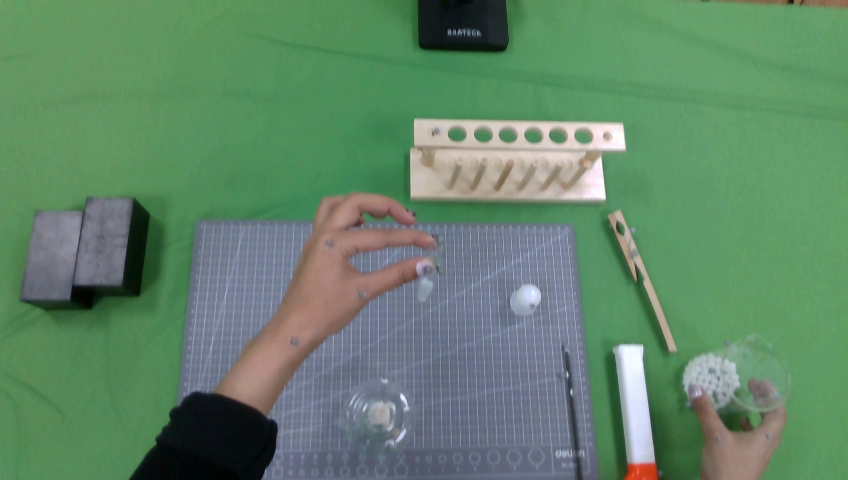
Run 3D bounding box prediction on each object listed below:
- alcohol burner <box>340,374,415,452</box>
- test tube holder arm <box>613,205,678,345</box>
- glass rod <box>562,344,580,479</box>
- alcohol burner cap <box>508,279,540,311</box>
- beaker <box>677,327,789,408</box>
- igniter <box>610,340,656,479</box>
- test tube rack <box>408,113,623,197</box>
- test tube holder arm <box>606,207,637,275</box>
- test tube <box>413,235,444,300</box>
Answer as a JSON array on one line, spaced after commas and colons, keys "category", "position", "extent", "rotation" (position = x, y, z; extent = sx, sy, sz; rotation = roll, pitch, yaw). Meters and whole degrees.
[{"category": "alcohol burner", "position": [-0.046, 0.171, 0.606], "extent": [0.078, 0.119, 0.077], "rotation": [1, 70, -4]}, {"category": "test tube holder arm", "position": [0.263, 0.040, 0.725], "extent": [0.013, 0.015, 0.177], "rotation": [-26, 75, 22]}, {"category": "glass rod", "position": [0.164, 0.214, 0.667], "extent": [0.008, 0.008, 0.198], "rotation": [0, 73, -5]}, {"category": "alcohol burner cap", "position": [0.116, 0.061, 0.692], "extent": [0.034, 0.048, 0.033], "rotation": [2, 73, -5]}, {"category": "beaker", "position": [0.330, 0.142, 0.660], "extent": [0.074, 0.100, 0.083], "rotation": [13, 71, -1]}, {"category": "igniter", "position": [0.232, 0.247, 0.656], "extent": [0.057, 0.025, 0.275], "rotation": [4, 73, -14]}, {"category": "test tube rack", "position": [0.104, -0.099, 0.719], "extent": [0.243, 0.085, 0.066], "rotation": [0, 73, -5]}, {"category": "test tube holder arm", "position": [0.244, 0.001, 0.738], "extent": [0.010, 0.015, 0.087], "rotation": [-25, 76, 23]}, {"category": "test tube", "position": [0.002, 0.028, 0.541], "extent": [0.017, 0.151, 0.017], "rotation": [2, 70, -4]}]
